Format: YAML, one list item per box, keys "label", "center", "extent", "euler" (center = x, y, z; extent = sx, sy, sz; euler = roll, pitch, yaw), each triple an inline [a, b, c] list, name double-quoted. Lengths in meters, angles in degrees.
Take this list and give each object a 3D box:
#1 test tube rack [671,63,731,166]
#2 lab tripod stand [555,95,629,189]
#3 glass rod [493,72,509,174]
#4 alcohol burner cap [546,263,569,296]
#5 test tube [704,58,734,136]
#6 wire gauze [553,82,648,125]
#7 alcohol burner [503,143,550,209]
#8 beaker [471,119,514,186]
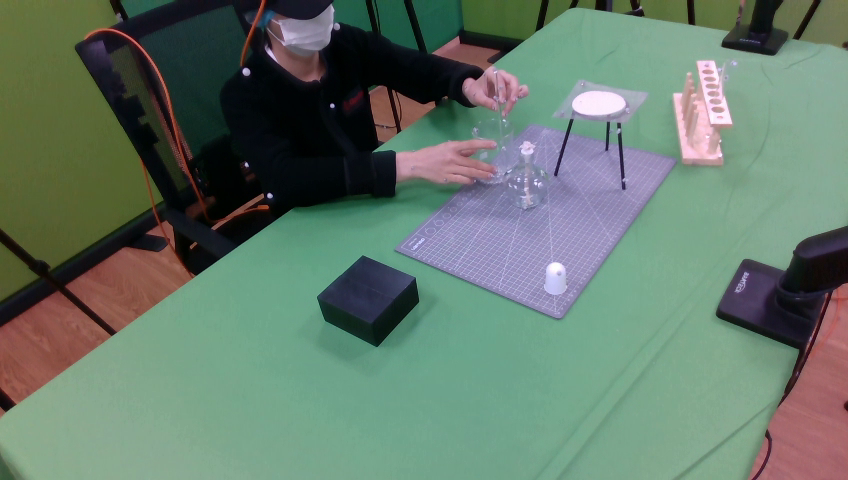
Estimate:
- label: "test tube rack"
  center: [0.513, -0.241, 1.132]
  extent: [0.066, 0.085, 0.242]
  euler: [4, 41, 14]
- label: "lab tripod stand"
  center: [0.300, -0.174, 1.045]
  extent: [0.148, 0.132, 0.147]
  euler: [-5, 38, 5]
- label: "glass rod"
  center: [0.134, -0.197, 1.043]
  extent: [0.008, 0.201, 0.008]
  euler: [-9, 39, 8]
- label: "alcohol burner cap"
  center: [0.191, 0.053, 0.862]
  extent: [0.034, 0.048, 0.033]
  euler: [-5, 40, 4]
- label: "test tube"
  center: [0.517, -0.247, 1.062]
  extent: [0.017, 0.151, 0.017]
  euler: [-3, 43, 4]
- label: "wire gauze"
  center: [0.293, -0.226, 1.002]
  extent: [0.120, 0.011, 0.125]
  euler: [17, 45, 27]
- label: "alcohol burner"
  center: [0.171, -0.112, 1.006]
  extent: [0.078, 0.119, 0.077]
  euler: [-3, 41, 3]
- label: "beaker"
  center: [0.125, -0.155, 1.077]
  extent: [0.084, 0.101, 0.073]
  euler: [-35, 47, -29]
